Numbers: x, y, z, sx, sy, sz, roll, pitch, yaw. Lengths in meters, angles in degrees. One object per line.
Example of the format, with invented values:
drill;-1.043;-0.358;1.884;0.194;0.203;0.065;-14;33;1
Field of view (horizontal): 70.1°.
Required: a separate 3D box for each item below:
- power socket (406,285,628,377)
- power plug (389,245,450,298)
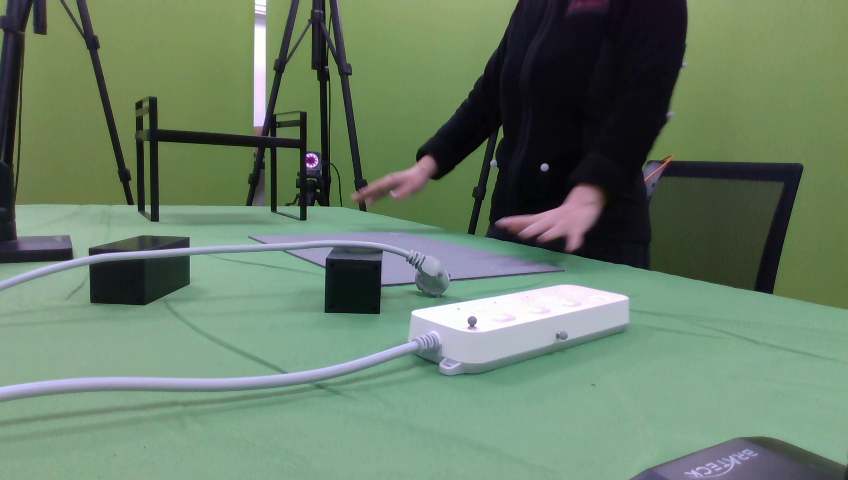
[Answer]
power socket;0.083;0.065;0.486;0.228;0.032;0.072;-5;9;-42
power plug;-0.004;0.029;0.629;0.035;0.072;0.052;-46;-5;-32
